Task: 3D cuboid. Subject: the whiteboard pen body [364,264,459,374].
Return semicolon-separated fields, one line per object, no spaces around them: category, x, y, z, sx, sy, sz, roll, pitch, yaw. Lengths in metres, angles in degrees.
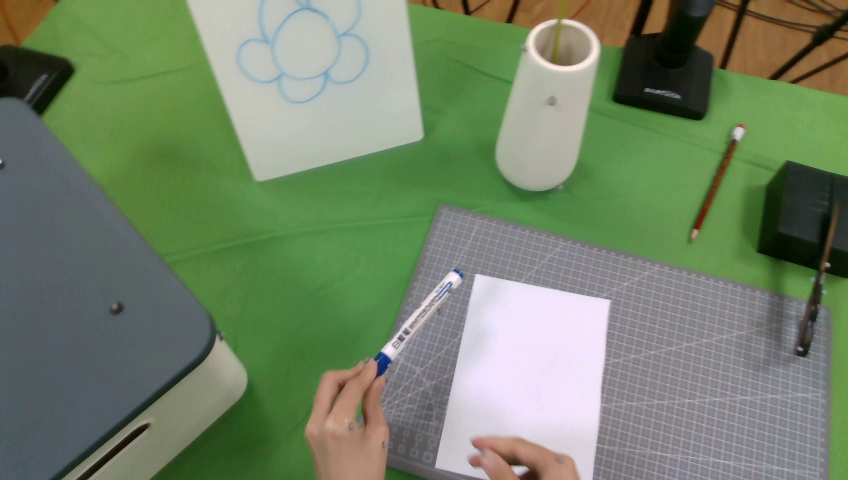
whiteboard pen body;-0.011;0.074;0.583;0.017;0.017;0.140;34;65;17

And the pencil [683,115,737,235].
pencil;0.348;-0.082;0.737;0.012;0.012;0.193;27;67;14

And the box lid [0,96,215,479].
box lid;-0.381;0.041;0.508;0.369;0.015;0.263;41;70;19

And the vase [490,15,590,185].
vase;0.126;-0.147;0.666;0.098;0.201;0.097;-1;61;1

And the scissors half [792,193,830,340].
scissors half;0.404;0.023;0.624;0.012;0.040;0.174;14;64;29

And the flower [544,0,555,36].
flower;0.122;-0.199;0.599;0.044;0.365;0.038;9;46;9

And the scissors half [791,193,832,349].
scissors half;0.413;0.031;0.641;0.012;0.040;0.175;13;82;34

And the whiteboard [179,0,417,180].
whiteboard;-0.146;-0.256;0.698;0.217;0.308;0.142;-16;44;-7

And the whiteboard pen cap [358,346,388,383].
whiteboard pen cap;-0.047;0.115;0.563;0.018;0.018;0.033;33;99;16

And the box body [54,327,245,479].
box body;-0.379;0.077;0.574;0.361;0.161;0.254;41;70;19
